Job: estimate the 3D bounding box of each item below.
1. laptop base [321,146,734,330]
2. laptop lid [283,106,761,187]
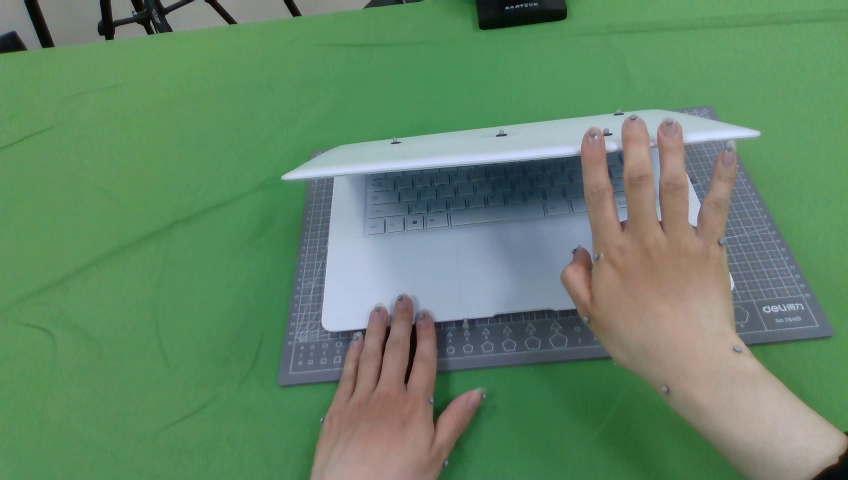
[{"bbox_3d":[0.082,-0.025,0.589,0.354,0.023,0.233,-6,52,4],"label":"laptop base"},{"bbox_3d":[0.071,-0.091,0.545,0.356,0.013,0.240,-5,16,5],"label":"laptop lid"}]
